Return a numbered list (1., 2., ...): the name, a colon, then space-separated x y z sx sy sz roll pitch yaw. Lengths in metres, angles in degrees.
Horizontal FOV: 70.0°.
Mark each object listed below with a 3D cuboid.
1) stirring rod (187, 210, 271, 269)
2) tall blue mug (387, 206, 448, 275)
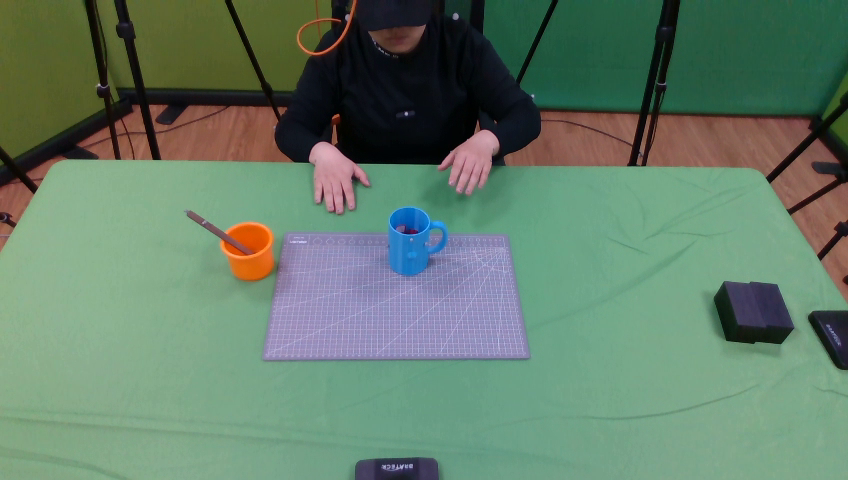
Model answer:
1. stirring rod: -0.349 0.001 1.092 0.177 0.006 0.014 39 35 -27
2. tall blue mug: -0.018 -0.004 1.138 0.107 0.108 0.077 -30 54 -29
